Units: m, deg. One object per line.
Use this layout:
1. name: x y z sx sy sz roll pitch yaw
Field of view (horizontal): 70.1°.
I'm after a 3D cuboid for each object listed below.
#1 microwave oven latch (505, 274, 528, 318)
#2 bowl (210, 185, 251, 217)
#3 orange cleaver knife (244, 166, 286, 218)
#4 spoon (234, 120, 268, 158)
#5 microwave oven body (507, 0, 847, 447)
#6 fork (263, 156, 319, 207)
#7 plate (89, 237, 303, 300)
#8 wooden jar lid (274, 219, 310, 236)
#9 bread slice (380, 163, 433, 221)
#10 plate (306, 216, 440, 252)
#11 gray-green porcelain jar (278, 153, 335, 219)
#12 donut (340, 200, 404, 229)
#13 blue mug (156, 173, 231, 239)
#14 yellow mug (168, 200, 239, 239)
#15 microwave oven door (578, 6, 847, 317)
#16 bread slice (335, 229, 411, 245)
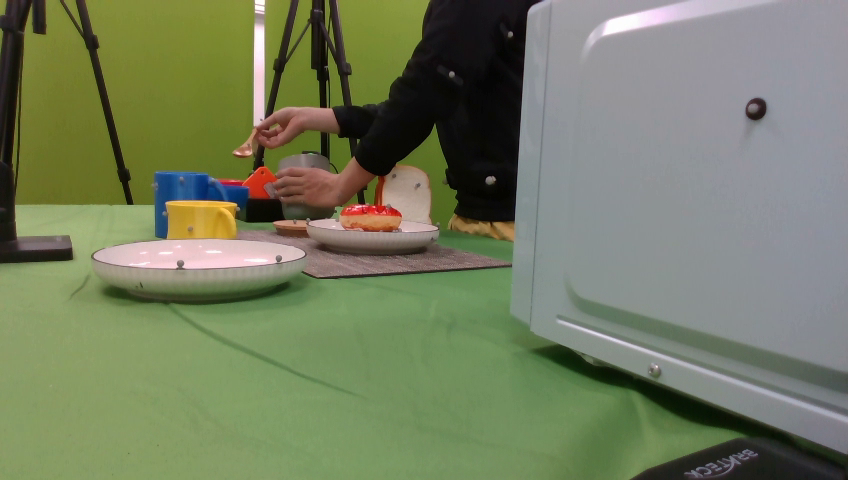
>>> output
1. microwave oven latch: 0.100 0.041 0.472 0.079 0.029 0.030 -2 8 -30
2. bowl: -0.408 -0.064 1.154 0.151 0.077 0.151 2 8 0
3. orange cleaver knife: -0.300 -0.089 1.351 0.212 0.077 0.012 32 -12 -34
4. spoon: -0.403 -0.242 1.435 0.041 0.021 0.193 7 40 4
5. microwave oven body: 0.331 -0.042 0.425 0.444 0.260 0.324 -2 8 -31
6. fork: -0.331 -0.144 1.506 0.207 0.018 0.028 -42 -18 22
7. plate: -0.233 0.029 0.637 0.208 0.039 0.207 2 7 0
8. wooden jar lid: -0.213 -0.023 1.081 0.108 0.020 0.108 3 7 0
9. bread slice: -0.035 -0.076 1.125 0.107 0.134 0.018 -4 1 -25
10. plate: -0.079 -0.011 0.950 0.209 0.038 0.209 2 8 0
11. gray-green porcelain jar: -0.238 -0.102 1.236 0.106 0.126 0.106 -9 -10 -1
12. donut: -0.081 -0.038 0.945 0.099 0.048 0.099 1 5 0
13. blue mug: -0.381 -0.057 1.004 0.117 0.106 0.082 1 8 -12
14. yellow mug: -0.320 -0.023 0.904 0.130 0.064 0.100 9 11 36
15. microwave oven door: 0.294 -0.067 0.570 0.358 0.243 0.039 -3 9 -31
16. bread slice: -0.074 -0.005 0.938 0.105 0.019 0.131 -1 4 -19
